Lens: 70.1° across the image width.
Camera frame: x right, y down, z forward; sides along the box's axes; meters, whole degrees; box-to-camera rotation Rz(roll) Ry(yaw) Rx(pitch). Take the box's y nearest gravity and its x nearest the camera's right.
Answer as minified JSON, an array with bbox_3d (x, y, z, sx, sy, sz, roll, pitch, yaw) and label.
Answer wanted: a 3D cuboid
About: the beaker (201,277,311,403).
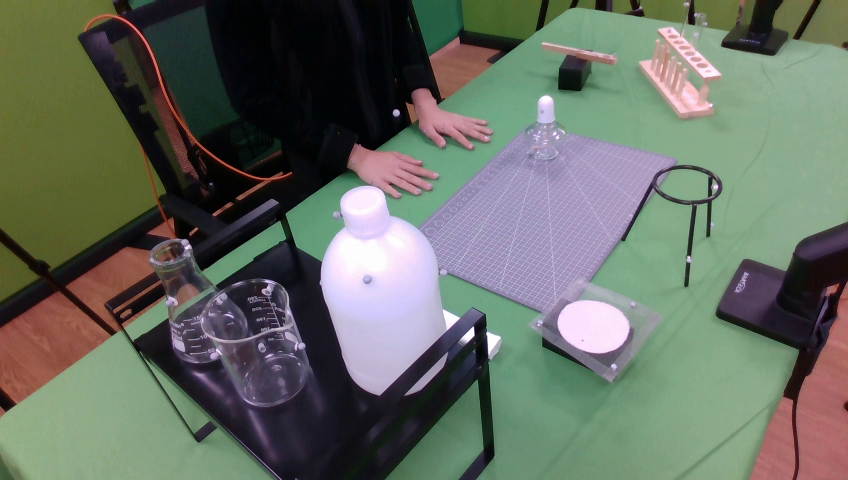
[{"bbox_3d":[-0.146,0.095,0.555,0.083,0.101,0.074,11,44,20],"label":"beaker"}]

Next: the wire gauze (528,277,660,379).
[{"bbox_3d":[0.213,0.103,0.763,0.124,0.011,0.122,30,52,35],"label":"wire gauze"}]

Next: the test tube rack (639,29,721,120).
[{"bbox_3d":[0.527,-0.351,1.262,0.067,0.085,0.241,-8,40,1],"label":"test tube rack"}]

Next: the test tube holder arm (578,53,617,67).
[{"bbox_3d":[0.376,-0.393,1.314,0.087,0.015,0.010,26,51,32],"label":"test tube holder arm"}]

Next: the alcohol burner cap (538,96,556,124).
[{"bbox_3d":[0.222,-0.237,1.095,0.034,0.048,0.033,-7,35,5],"label":"alcohol burner cap"}]

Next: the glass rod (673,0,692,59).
[{"bbox_3d":[0.537,-0.437,1.257,0.008,0.200,0.008,0,39,1],"label":"glass rod"}]

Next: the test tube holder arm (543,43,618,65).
[{"bbox_3d":[0.345,-0.413,1.341,0.177,0.015,0.013,25,50,31],"label":"test tube holder arm"}]

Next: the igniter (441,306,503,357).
[{"bbox_3d":[-0.008,0.093,0.870,0.274,0.025,0.057,24,60,33],"label":"igniter"}]

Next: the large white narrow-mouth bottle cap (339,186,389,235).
[{"bbox_3d":[-0.046,-0.023,0.470,0.038,0.024,0.037,-4,41,4],"label":"large white narrow-mouth bottle cap"}]

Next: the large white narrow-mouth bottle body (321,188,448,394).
[{"bbox_3d":[-0.035,0.041,0.527,0.102,0.195,0.101,-5,41,5],"label":"large white narrow-mouth bottle body"}]

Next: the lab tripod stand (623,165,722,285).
[{"bbox_3d":[0.365,-0.030,0.874,0.148,0.132,0.147,-6,41,6],"label":"lab tripod stand"}]

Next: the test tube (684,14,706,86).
[{"bbox_3d":[0.541,-0.378,1.215,0.017,0.151,0.017,-2,44,3],"label":"test tube"}]

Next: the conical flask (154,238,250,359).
[{"bbox_3d":[-0.225,0.055,0.598,0.075,0.122,0.075,-5,41,4],"label":"conical flask"}]

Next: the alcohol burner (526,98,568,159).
[{"bbox_3d":[0.228,-0.210,1.118,0.078,0.119,0.077,-5,43,5],"label":"alcohol burner"}]
